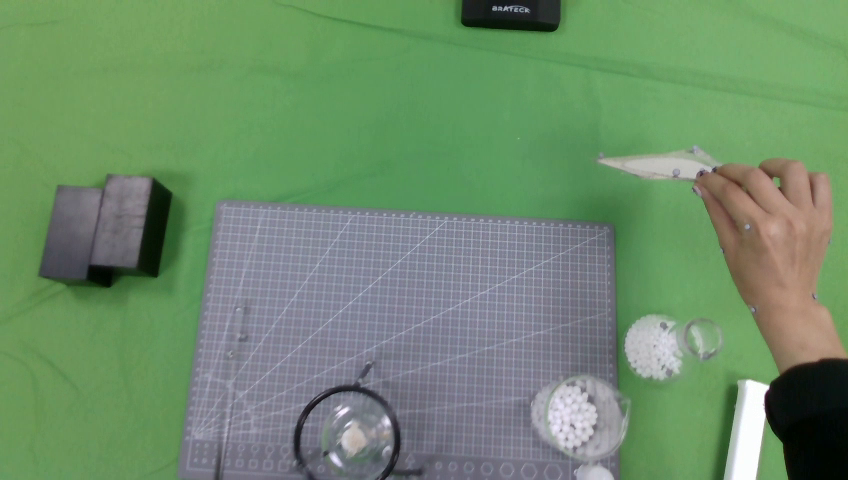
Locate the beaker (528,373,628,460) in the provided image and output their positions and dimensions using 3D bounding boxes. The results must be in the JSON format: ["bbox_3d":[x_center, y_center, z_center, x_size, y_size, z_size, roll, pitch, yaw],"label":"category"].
[{"bbox_3d":[0.145,0.167,0.590,0.084,0.100,0.073,-20,77,-5],"label":"beaker"}]

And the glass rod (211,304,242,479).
[{"bbox_3d":[-0.206,0.166,0.633,0.008,0.008,0.199,5,79,1],"label":"glass rod"}]

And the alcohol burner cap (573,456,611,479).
[{"bbox_3d":[0.170,0.235,0.603,0.034,0.048,0.033,0,75,0],"label":"alcohol burner cap"}]

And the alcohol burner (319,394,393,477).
[{"bbox_3d":[-0.064,0.186,0.576,0.078,0.120,0.077,0,75,2],"label":"alcohol burner"}]

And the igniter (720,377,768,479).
[{"bbox_3d":[0.305,0.274,0.605,0.057,0.025,0.275,19,77,-6],"label":"igniter"}]

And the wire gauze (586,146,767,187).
[{"bbox_3d":[0.236,-0.072,0.582,0.125,0.120,0.011,-1,112,-6],"label":"wire gauze"}]

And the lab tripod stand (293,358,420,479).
[{"bbox_3d":[-0.067,0.183,0.566,0.148,0.132,0.147,0,78,0],"label":"lab tripod stand"}]

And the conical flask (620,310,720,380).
[{"bbox_3d":[0.247,0.099,0.598,0.075,0.122,0.075,0,75,0],"label":"conical flask"}]
